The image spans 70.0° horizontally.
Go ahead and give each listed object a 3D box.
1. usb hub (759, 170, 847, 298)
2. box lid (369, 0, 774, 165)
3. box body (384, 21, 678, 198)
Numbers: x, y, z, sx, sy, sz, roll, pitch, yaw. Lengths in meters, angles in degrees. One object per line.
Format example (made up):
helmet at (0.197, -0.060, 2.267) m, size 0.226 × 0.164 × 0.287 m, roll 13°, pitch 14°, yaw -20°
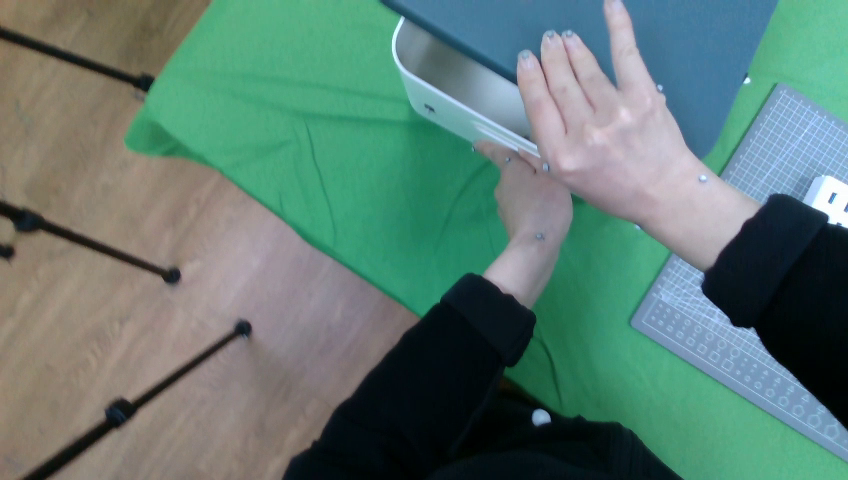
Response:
usb hub at (0.397, -0.006, 0.621) m, size 0.049 × 0.025 × 0.125 m, roll 28°, pitch 90°, yaw 0°
box lid at (0.147, -0.254, 0.443) m, size 0.263 × 0.015 × 0.370 m, roll 28°, pitch 76°, yaw 0°
box body at (0.154, -0.245, 0.556) m, size 0.254 × 0.160 × 0.364 m, roll 26°, pitch 89°, yaw 2°
